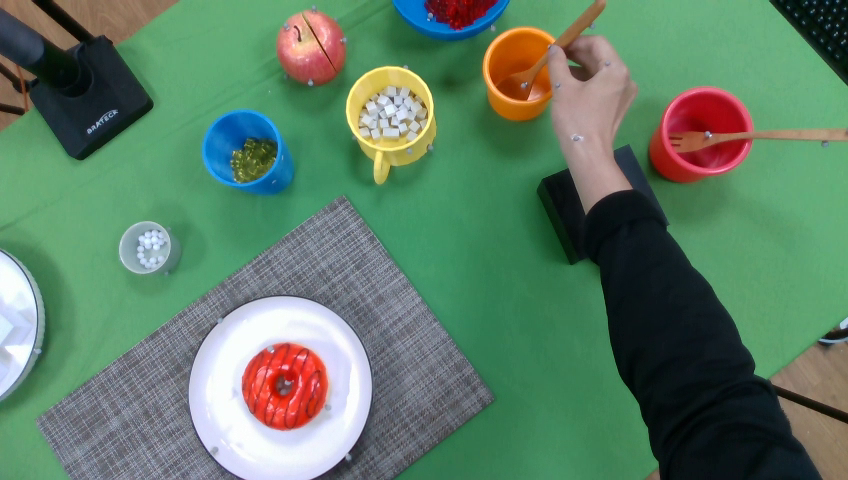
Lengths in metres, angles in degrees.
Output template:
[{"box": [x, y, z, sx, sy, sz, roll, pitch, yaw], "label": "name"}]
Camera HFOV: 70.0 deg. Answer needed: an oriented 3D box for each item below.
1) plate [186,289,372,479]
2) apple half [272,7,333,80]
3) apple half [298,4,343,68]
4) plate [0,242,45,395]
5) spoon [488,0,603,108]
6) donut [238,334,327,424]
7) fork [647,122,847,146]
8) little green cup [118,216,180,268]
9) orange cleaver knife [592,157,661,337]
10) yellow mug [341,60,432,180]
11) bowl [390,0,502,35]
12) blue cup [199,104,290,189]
[{"box": [-0.160, 0.159, 0.685, 0.209, 0.038, 0.208, 0, 83, 3], "label": "plate"}, {"box": [-0.149, -0.224, 0.718, 0.053, 0.075, 0.080, -31, 85, 2], "label": "apple half"}, {"box": [-0.115, -0.246, 0.718, 0.033, 0.081, 0.081, -31, 82, 0], "label": "apple half"}, {"box": [-0.545, 0.096, 0.716, 0.207, 0.039, 0.207, 0, 83, 3], "label": "plate"}, {"box": [0.125, -0.197, 0.645, 0.021, 0.194, 0.041, -35, 90, -28], "label": "spoon"}, {"box": [-0.157, 0.154, 0.674, 0.099, 0.048, 0.099, 0, 84, 4], "label": "donut"}, {"box": [0.339, -0.116, 0.644, 0.206, 0.019, 0.028, 6, 66, 46], "label": "fork"}, {"box": [-0.322, 0.005, 0.716, 0.061, 0.039, 0.061, 0, 82, 3], "label": "little green cup"}, {"box": [0.222, 0.010, 0.666, 0.012, 0.076, 0.213, -22, 111, 2], "label": "orange cleaver knife"}, {"box": [-0.045, -0.134, 0.705, 0.100, 0.064, 0.130, 11, 84, 4], "label": "yellow mug"}, {"box": [0.028, -0.304, 0.717, 0.151, 0.077, 0.151, 0, 84, 3], "label": "bowl"}, {"box": [-0.195, -0.097, 0.691, 0.092, 0.100, 0.092, 0, 84, 1], "label": "blue cup"}]
